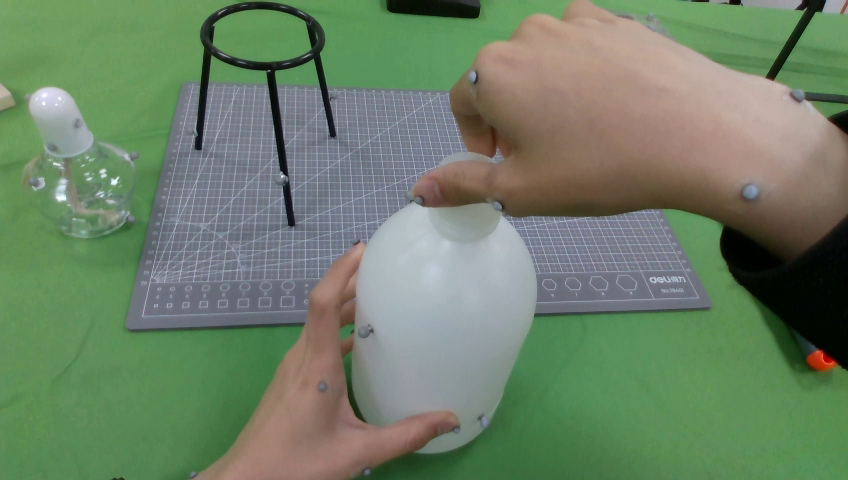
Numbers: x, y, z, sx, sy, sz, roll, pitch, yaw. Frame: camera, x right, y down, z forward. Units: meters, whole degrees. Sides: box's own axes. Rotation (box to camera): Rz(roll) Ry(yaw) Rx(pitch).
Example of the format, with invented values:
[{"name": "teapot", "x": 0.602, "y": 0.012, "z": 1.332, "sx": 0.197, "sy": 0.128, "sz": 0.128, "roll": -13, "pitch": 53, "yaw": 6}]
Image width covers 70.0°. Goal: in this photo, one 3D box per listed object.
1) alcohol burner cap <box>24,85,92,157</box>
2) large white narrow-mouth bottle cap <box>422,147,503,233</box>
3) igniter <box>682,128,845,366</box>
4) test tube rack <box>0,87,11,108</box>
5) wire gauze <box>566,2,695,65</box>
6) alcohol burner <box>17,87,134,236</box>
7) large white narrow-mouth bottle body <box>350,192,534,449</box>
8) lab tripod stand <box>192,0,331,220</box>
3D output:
[{"name": "alcohol burner cap", "x": -0.253, "y": -0.083, "z": 0.415, "sx": 0.034, "sy": 0.048, "sz": 0.033, "roll": 4, "pitch": 54, "yaw": -5}, {"name": "large white narrow-mouth bottle cap", "x": 0.018, "y": -0.023, "z": 0.284, "sx": 0.038, "sy": 0.024, "sz": 0.037, "roll": 5, "pitch": 48, "yaw": -5}, {"name": "igniter", "x": 0.299, "y": -0.008, "z": 0.550, "sx": 0.057, "sy": 0.025, "sz": 0.273, "roll": 8, "pitch": 47, "yaw": -17}, {"name": "test tube rack", "x": -0.478, "y": -0.112, "z": 0.470, "sx": 0.066, "sy": 0.086, "sz": 0.242, "roll": 37, "pitch": 53, "yaw": 22}, {"name": "wire gauze", "x": 0.230, "y": -0.234, "z": 0.690, "sx": 0.122, "sy": 0.011, "sz": 0.123, "roll": 1, "pitch": 49, "yaw": -11}, {"name": "alcohol burner", "x": -0.258, "y": -0.060, "z": 0.443, "sx": 0.078, "sy": 0.120, "sz": 0.077, "roll": 6, "pitch": 46, "yaw": -6}, {"name": "large white narrow-mouth bottle body", "x": 0.009, "y": 0.036, "z": 0.347, "sx": 0.102, "sy": 0.196, "sz": 0.101, "roll": 4, "pitch": 47, "yaw": -4}, {"name": "lab tripod stand", "x": -0.127, "y": -0.111, "z": 0.493, "sx": 0.149, "sy": 0.132, "sz": 0.147, "roll": 6, "pitch": 48, "yaw": -7}]
